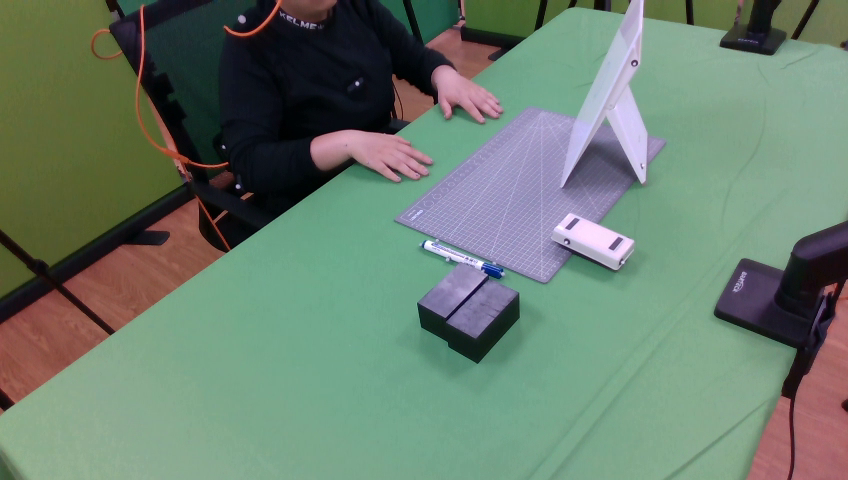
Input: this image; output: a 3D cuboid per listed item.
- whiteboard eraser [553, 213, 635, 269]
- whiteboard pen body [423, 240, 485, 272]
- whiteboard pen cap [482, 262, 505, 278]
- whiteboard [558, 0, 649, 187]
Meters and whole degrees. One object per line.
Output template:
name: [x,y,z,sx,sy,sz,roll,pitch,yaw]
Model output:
whiteboard eraser: [0.257,0.003,0.918,0.112,0.042,0.056,27,49,30]
whiteboard pen body: [0.057,0.027,0.942,0.139,0.017,0.017,22,48,30]
whiteboard pen cap: [0.104,0.044,0.912,0.033,0.018,0.018,22,49,29]
whiteboard: [0.361,-0.238,1.026,0.144,0.306,0.217,21,44,4]
